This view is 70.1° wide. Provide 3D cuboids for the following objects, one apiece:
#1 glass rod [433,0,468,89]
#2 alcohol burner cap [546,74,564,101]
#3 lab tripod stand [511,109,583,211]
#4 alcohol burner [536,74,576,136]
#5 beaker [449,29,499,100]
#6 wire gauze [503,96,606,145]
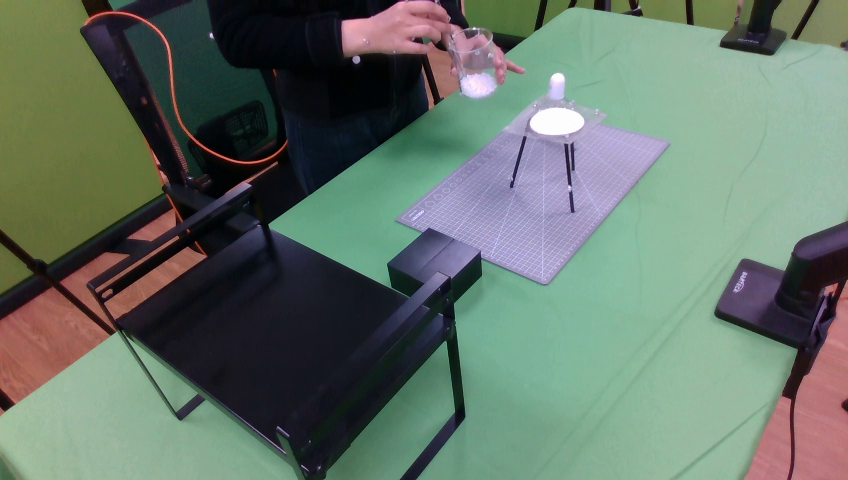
[{"bbox_3d":[0.042,-0.334,1.006,0.008,0.201,0.008,-13,46,15],"label":"glass rod"},{"bbox_3d":[0.251,-0.293,1.152,0.034,0.048,0.033,-1,43,1],"label":"alcohol burner cap"},{"bbox_3d":[0.220,-0.138,1.014,0.148,0.132,0.147,-3,41,3],"label":"lab tripod stand"},{"bbox_3d":[0.255,-0.265,1.173,0.078,0.119,0.077,-6,40,5],"label":"alcohol burner"},{"bbox_3d":[0.090,-0.303,1.049,0.073,0.101,0.084,9,52,23],"label":"beaker"},{"bbox_3d":[0.211,-0.192,0.975,0.120,0.011,0.125,24,49,32],"label":"wire gauze"}]
